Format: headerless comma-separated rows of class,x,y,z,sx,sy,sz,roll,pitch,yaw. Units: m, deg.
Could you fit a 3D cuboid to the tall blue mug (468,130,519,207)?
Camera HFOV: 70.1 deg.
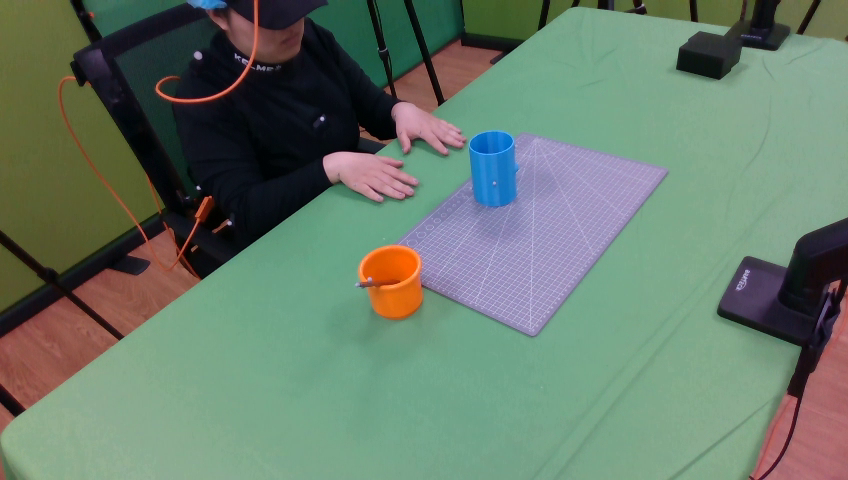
tall blue mug,0.114,-0.131,1.045,0.078,0.108,0.106,-20,41,-11

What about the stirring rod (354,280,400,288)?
stirring rod,-0.062,0.059,0.833,0.014,0.006,0.177,7,-1,13
